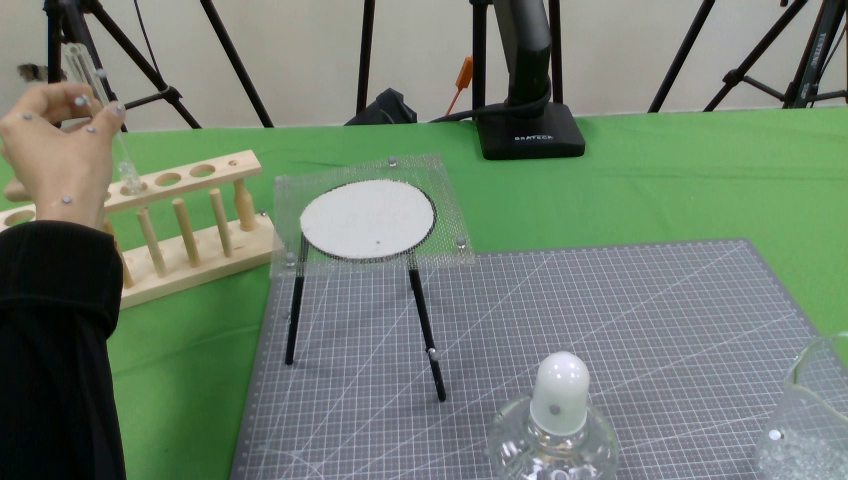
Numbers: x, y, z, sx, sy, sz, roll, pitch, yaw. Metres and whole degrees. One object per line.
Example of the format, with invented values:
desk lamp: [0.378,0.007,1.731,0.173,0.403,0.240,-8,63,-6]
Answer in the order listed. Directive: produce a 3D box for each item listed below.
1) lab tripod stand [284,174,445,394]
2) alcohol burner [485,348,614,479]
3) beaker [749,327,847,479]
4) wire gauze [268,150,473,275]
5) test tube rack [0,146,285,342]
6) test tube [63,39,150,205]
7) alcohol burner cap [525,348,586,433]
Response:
lab tripod stand: [-0.038,0.031,0.441,0.148,0.133,0.147,-1,41,1]
alcohol burner: [0.076,0.109,0.359,0.078,0.120,0.077,0,37,1]
beaker: [0.242,0.113,0.361,0.084,0.101,0.073,4,39,8]
wire gauze: [-0.040,-0.021,0.398,0.125,0.011,0.120,-7,39,-6]
test tube rack: [-0.255,-0.002,0.530,0.243,0.086,0.066,-19,42,-20]
test tube: [-0.250,-0.087,0.484,0.017,0.151,0.017,0,44,0]
alcohol burner cap: [0.074,0.081,0.336,0.034,0.048,0.033,-2,41,2]
